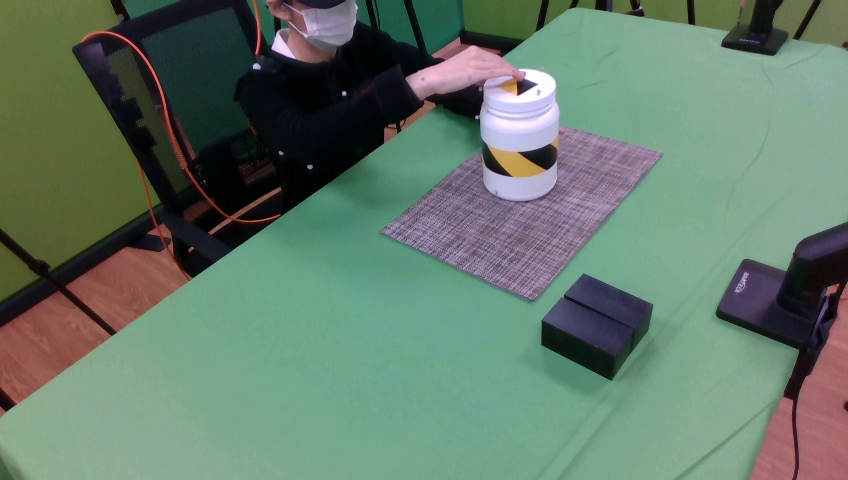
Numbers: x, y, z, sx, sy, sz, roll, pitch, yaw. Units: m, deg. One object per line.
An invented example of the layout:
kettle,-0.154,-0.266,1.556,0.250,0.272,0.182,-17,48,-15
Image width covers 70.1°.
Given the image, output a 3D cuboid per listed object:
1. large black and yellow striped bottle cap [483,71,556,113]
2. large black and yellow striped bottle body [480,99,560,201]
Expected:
large black and yellow striped bottle cap,0.152,-0.238,0.964,0.115,0.019,0.114,-5,39,4
large black and yellow striped bottle body,0.162,-0.173,1.022,0.131,0.185,0.130,-5,40,4
